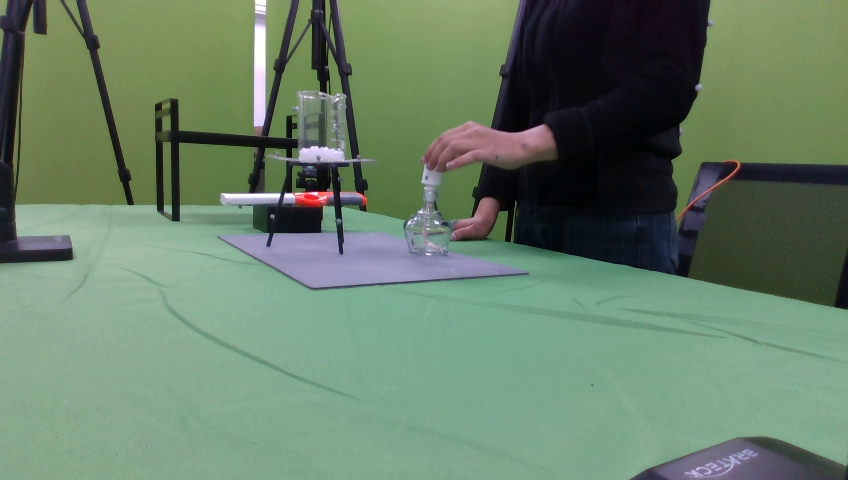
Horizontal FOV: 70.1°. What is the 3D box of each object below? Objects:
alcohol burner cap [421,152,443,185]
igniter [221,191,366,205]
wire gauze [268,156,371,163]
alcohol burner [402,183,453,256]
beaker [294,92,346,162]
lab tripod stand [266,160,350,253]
[{"bbox_3d":[0.013,-0.107,0.904,0.034,0.048,0.034,6,12,-1],"label":"alcohol burner cap"},{"bbox_3d":[-0.240,-0.079,1.150,0.278,0.025,0.057,-3,20,-32],"label":"igniter"},{"bbox_3d":[-0.154,-0.119,0.910,0.122,0.011,0.124,-4,8,-45],"label":"wire gauze"},{"bbox_3d":[0.007,-0.036,0.915,0.078,0.119,0.078,4,6,0],"label":"alcohol burner"},{"bbox_3d":[-0.152,-0.165,0.896,0.074,0.100,0.083,-4,10,-33],"label":"beaker"},{"bbox_3d":[-0.163,-0.054,0.914,0.148,0.131,0.148,2,9,0],"label":"lab tripod stand"}]
